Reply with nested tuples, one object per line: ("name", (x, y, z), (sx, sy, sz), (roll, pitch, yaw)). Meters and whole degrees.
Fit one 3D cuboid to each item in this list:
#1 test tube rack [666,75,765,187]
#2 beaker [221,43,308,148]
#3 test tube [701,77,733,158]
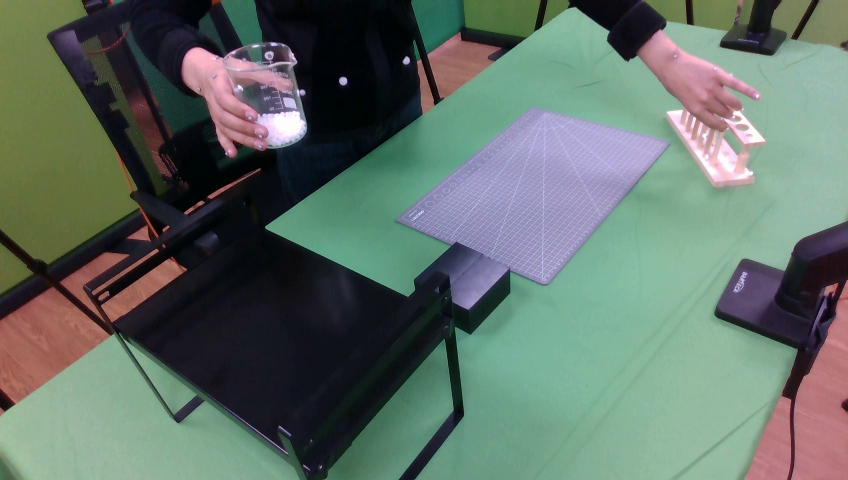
("test tube rack", (0.512, -0.201, 1.082), (0.067, 0.085, 0.241), (-6, 41, 2))
("beaker", (-0.175, -0.163, 0.692), (0.084, 0.101, 0.074), (5, 42, 13))
("test tube", (0.493, -0.204, 1.019), (0.017, 0.151, 0.017), (-2, 42, 2))
